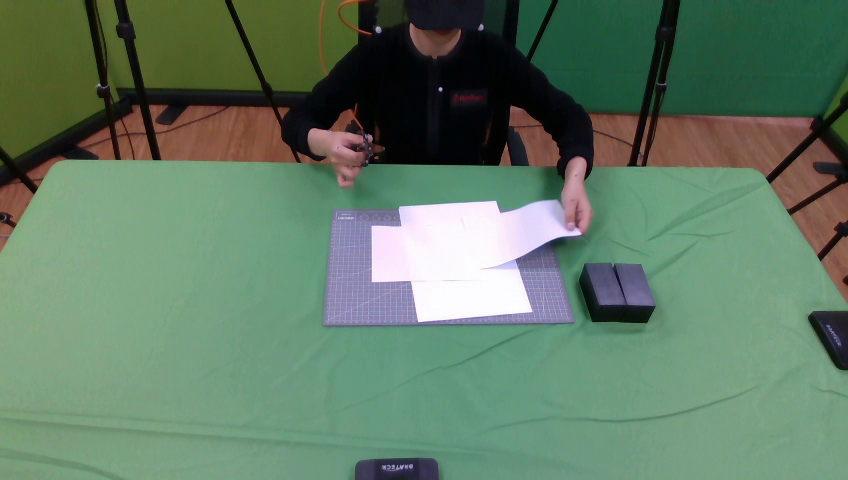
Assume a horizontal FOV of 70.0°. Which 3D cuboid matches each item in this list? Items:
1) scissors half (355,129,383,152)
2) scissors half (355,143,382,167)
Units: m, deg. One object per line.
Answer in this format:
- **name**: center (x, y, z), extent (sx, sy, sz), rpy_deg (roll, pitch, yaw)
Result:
- **scissors half**: center (-0.105, -0.186, 1.155), extent (0.013, 0.040, 0.174), rpy_deg (-7, 18, -20)
- **scissors half**: center (-0.105, -0.166, 1.157), extent (0.013, 0.175, 0.040), rpy_deg (-1, 90, -20)
